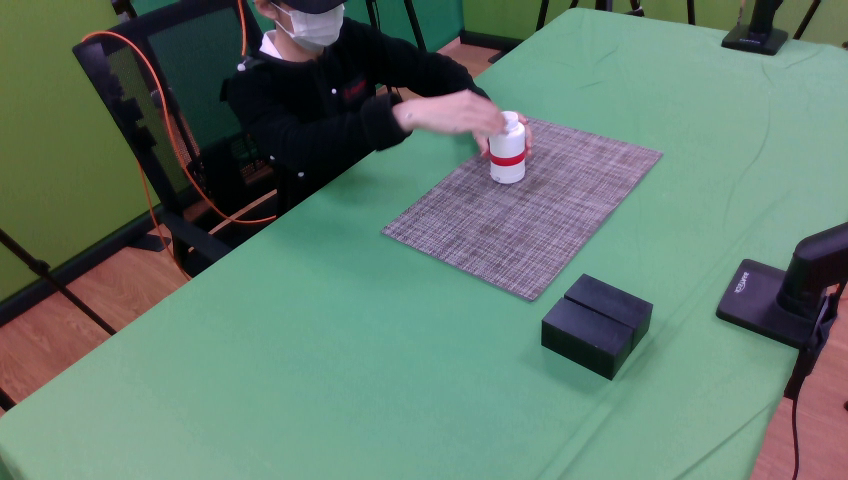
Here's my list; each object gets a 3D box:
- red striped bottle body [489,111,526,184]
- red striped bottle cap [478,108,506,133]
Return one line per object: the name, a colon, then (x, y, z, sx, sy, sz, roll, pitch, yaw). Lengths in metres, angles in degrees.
red striped bottle body: (0.147, -0.164, 1.064, 0.063, 0.120, 0.062, -5, 39, 4)
red striped bottle cap: (0.110, -0.196, 0.986, 0.044, 0.018, 0.044, -12, 47, 14)
